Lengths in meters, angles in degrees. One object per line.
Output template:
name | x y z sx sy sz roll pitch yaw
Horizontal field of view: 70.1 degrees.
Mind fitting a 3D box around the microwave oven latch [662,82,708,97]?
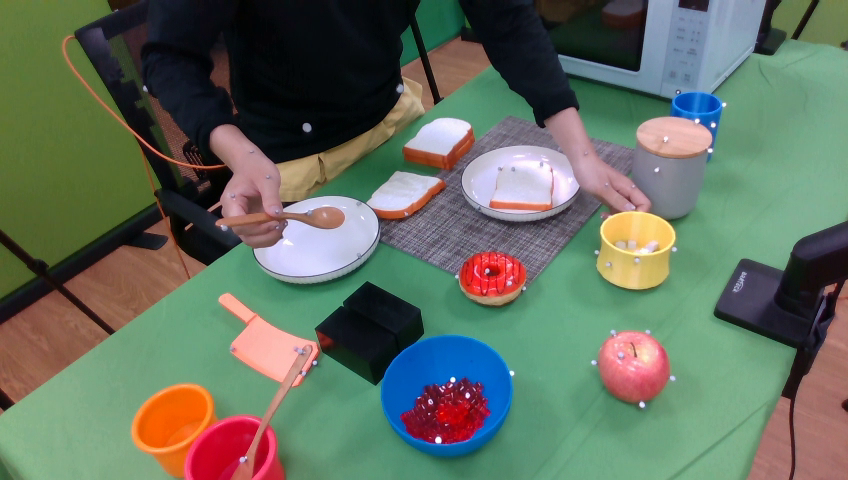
microwave oven latch | 0.518 -0.298 1.203 0.078 0.029 0.030 28 53 35

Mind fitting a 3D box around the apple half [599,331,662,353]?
apple half | 0.249 0.134 0.738 0.081 0.081 0.032 -1 46 7

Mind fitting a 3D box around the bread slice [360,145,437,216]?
bread slice | -0.053 -0.103 1.046 0.106 0.018 0.134 19 67 22

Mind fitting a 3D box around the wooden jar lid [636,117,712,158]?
wooden jar lid | 0.377 -0.151 0.917 0.108 0.021 0.108 -2 42 3

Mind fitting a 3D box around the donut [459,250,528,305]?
donut | 0.100 0.053 0.872 0.099 0.048 0.098 -5 40 4

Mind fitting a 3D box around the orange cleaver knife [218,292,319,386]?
orange cleaver knife | -0.235 0.136 0.850 0.209 0.012 0.077 25 56 30

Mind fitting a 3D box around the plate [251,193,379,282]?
plate | -0.174 -0.001 0.985 0.209 0.038 0.208 -4 40 3

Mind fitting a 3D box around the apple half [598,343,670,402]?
apple half | 0.247 0.161 0.710 0.081 0.075 0.053 2 47 5

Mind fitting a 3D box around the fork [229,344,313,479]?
fork | -0.173 0.205 0.662 0.028 0.019 0.207 29 94 36

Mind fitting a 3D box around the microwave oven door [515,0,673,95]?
microwave oven door | 0.344 -0.458 1.256 0.353 0.245 0.039 26 51 33

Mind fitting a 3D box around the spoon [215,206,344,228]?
spoon | -0.167 -0.027 0.720 0.041 0.021 0.195 45 24 23

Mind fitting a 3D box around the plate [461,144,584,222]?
plate | 0.168 -0.095 1.040 0.207 0.039 0.206 -4 40 4

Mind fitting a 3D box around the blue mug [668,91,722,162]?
blue mug | 0.474 -0.207 1.079 0.082 0.106 0.116 4 42 13

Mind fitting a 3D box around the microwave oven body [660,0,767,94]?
microwave oven body | 0.473 -0.517 1.313 0.438 0.261 0.327 26 51 34

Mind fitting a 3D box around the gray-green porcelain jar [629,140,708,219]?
gray-green porcelain jar | 0.383 -0.105 0.958 0.106 0.127 0.105 -4 41 4

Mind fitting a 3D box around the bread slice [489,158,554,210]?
bread slice | 0.172 -0.100 1.047 0.104 0.019 0.131 4 42 12

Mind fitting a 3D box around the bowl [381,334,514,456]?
bowl | 0.029 0.192 0.701 0.151 0.077 0.150 -4 40 4

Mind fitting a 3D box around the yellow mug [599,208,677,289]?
yellow mug | 0.307 0.003 0.879 0.100 0.064 0.130 -1 39 8
